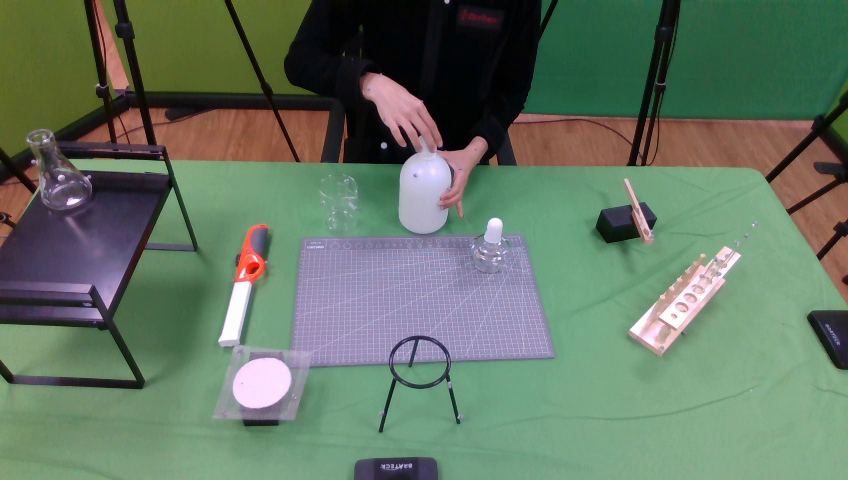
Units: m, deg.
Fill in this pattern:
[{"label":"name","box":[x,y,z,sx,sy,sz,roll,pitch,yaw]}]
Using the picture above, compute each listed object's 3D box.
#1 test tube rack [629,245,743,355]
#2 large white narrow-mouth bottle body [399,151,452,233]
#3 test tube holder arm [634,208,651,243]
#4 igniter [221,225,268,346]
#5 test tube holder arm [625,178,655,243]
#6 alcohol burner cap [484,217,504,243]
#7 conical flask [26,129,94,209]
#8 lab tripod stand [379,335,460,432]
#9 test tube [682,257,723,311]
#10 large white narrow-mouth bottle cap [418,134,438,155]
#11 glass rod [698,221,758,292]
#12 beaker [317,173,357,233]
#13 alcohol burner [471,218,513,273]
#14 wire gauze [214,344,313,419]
[{"label":"test tube rack","box":[0.474,0.095,1.091,0.242,0.085,0.066,-34,56,-31]},{"label":"large white narrow-mouth bottle body","box":[0.003,-0.110,1.183,0.102,0.195,0.101,2,47,-2]},{"label":"test tube holder arm","box":[0.428,-0.030,1.189,0.010,0.015,0.087,1,47,-2]},{"label":"igniter","box":[-0.323,0.072,1.100,0.057,0.025,0.274,-6,45,5]},{"label":"test tube holder arm","box":[0.433,-0.062,1.220,0.013,0.015,0.177,1,47,-3]},{"label":"alcohol burner cap","box":[0.130,-0.021,1.107,0.034,0.048,0.033,4,40,-3]},{"label":"conical flask","box":[-0.575,-0.113,0.946,0.075,0.122,0.075,2,46,-2]},{"label":"lab tripod stand","box":[-0.011,0.214,0.911,0.148,0.132,0.147,1,45,0]},{"label":"test tube","box":[0.475,0.080,1.037,0.017,0.151,0.017,1,50,-1]},{"label":"large white narrow-mouth bottle cap","box":[0.007,-0.176,1.113,0.038,0.024,0.037,2,47,-2]},{"label":"glass rod","box":[0.527,0.035,1.060,0.008,0.200,0.008,5,49,-6]},{"label":"beaker","box":[-0.166,-0.070,1.198,0.083,0.101,0.074,25,50,18]},{"label":"alcohol burner","box":[0.128,0.005,1.132,0.078,0.120,0.077,0,47,0]},{"label":"wire gauze","box":[-0.241,0.213,0.916,0.121,0.011,0.124,5,46,1]}]
